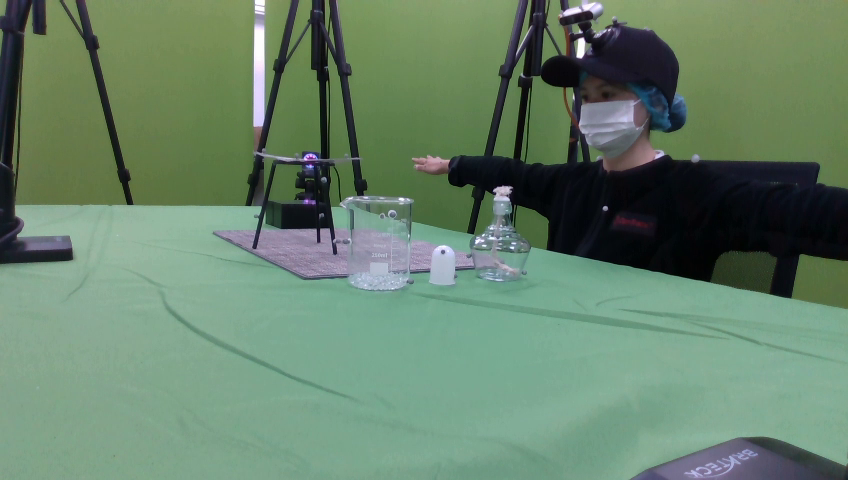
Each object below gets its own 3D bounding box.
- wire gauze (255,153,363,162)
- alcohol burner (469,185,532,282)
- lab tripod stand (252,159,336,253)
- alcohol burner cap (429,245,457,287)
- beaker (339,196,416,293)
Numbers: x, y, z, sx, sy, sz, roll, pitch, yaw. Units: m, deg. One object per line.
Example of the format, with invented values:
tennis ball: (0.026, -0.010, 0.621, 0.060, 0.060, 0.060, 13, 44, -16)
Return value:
wire gauze: (-0.172, -0.119, 0.891, 0.122, 0.011, 0.124, -2, 7, -38)
alcohol burner: (0.096, -0.008, 0.752, 0.078, 0.119, 0.078, 3, 5, 0)
lab tripod stand: (-0.180, -0.053, 0.900, 0.148, 0.131, 0.148, 1, 6, 0)
alcohol burner cap: (0.024, 0.030, 0.705, 0.034, 0.048, 0.034, 2, 6, 0)
beaker: (-0.052, 0.004, 0.661, 0.084, 0.100, 0.073, -1, 7, -18)
